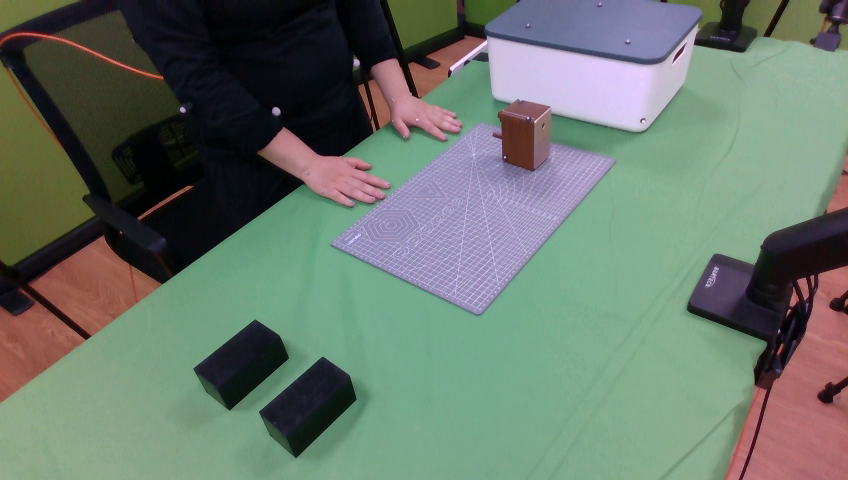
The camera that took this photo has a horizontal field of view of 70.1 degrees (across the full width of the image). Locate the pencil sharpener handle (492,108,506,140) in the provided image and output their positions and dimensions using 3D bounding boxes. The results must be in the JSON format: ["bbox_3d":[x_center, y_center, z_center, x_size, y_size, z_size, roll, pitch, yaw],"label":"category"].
[{"bbox_3d":[0.141,-0.215,1.114,0.030,0.068,0.036,23,41,32],"label":"pencil sharpener handle"}]

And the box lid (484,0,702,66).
[{"bbox_3d":[0.333,-0.428,1.202,0.368,0.015,0.264,21,48,30],"label":"box lid"}]

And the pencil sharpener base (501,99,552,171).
[{"bbox_3d":[0.184,-0.191,1.097,0.076,0.107,0.061,23,49,32],"label":"pencil sharpener base"}]

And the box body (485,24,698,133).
[{"bbox_3d":[0.340,-0.373,1.251,0.361,0.161,0.255,21,48,30],"label":"box body"}]
